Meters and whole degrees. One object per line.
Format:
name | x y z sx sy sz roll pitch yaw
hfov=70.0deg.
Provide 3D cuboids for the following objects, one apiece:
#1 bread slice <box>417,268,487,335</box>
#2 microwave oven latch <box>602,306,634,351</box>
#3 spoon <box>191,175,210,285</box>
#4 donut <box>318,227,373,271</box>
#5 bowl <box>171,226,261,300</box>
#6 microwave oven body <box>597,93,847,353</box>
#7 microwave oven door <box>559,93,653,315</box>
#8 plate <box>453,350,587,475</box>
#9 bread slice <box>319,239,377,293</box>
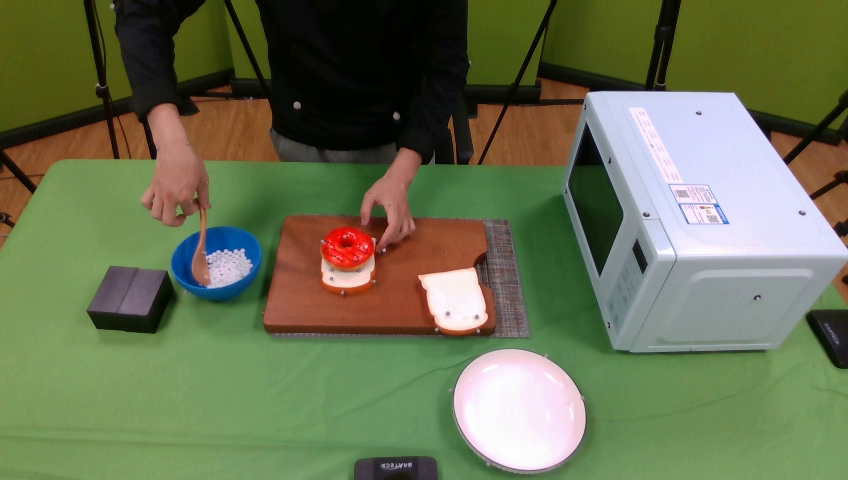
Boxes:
bread slice | 0.055 0.107 1.063 0.107 0.018 0.133 -9 48 -12
microwave oven latch | 0.332 0.153 1.044 0.030 0.029 0.078 0 45 -4
spoon | -0.390 -0.018 1.062 0.021 0.193 0.042 0 -2 28
donut | -0.142 0.017 1.096 0.099 0.048 0.098 2 44 -2
bowl | -0.363 0.054 1.081 0.151 0.077 0.150 3 45 -3
microwave oven body | 0.475 -0.041 1.109 0.326 0.261 0.438 -1 45 -4
microwave oven door | 0.327 -0.074 1.123 0.039 0.245 0.353 -1 46 -5
plate | 0.147 0.267 0.943 0.208 0.039 0.206 2 45 -2
bread slice | -0.140 0.044 1.111 0.105 0.019 0.130 0 44 -3
